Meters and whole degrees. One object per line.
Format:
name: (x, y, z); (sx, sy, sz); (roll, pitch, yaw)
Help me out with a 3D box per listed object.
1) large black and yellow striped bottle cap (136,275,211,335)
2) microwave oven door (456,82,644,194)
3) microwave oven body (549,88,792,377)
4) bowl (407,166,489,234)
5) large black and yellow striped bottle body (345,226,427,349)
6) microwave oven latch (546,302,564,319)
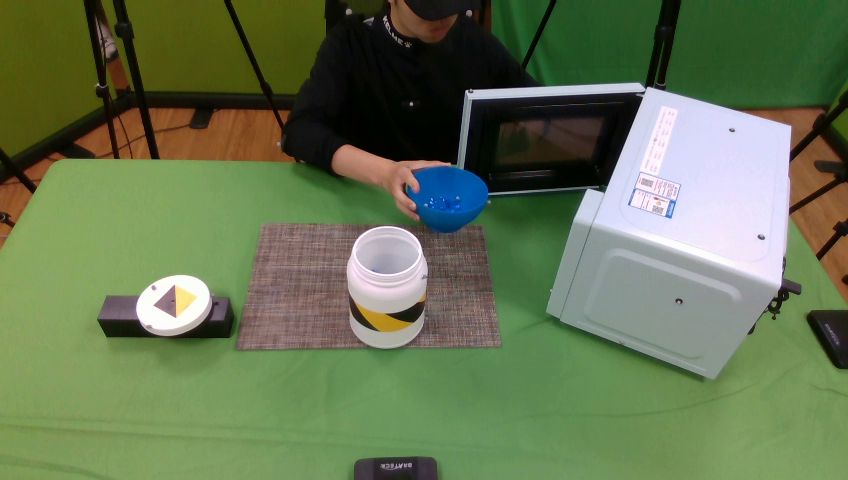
large black and yellow striped bottle cap: (-0.412, 0.105, 0.998); (0.115, 0.019, 0.114); (3, 47, -3)
microwave oven door: (0.247, -0.202, 1.233); (0.356, 0.245, 0.039); (-5, 47, -8)
microwave oven body: (0.456, -0.028, 1.088); (0.325, 0.261, 0.440); (20, 47, 16)
bowl: (0.041, -0.065, 1.122); (0.151, 0.077, 0.150); (3, 39, -2)
large black and yellow striped bottle body: (-0.062, 0.078, 0.998); (0.131, 0.185, 0.130); (2, 46, -2)
microwave oven latch: (0.242, 0.102, 1.081); (0.030, 0.029, 0.079); (21, 48, 17)
